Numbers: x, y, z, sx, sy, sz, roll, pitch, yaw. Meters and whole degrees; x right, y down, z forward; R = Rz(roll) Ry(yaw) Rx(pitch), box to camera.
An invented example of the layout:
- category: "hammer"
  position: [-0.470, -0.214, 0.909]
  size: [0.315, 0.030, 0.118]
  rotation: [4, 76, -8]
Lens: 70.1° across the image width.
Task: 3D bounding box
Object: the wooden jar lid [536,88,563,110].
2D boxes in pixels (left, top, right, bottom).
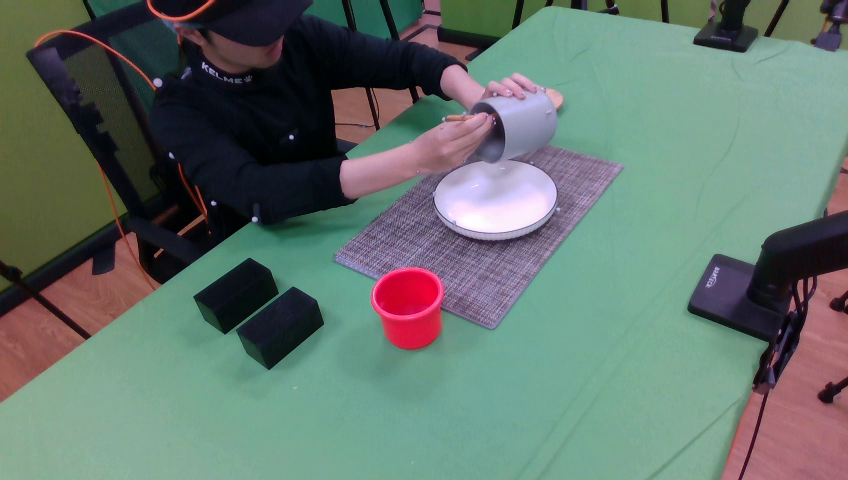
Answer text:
- category: "wooden jar lid"
  position: [0.237, -0.286, 1.271]
  size: [0.108, 0.021, 0.108]
  rotation: [-5, 42, 5]

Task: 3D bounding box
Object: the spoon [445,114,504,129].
- category: "spoon"
  position: [0.112, -0.185, 0.961]
  size: [0.195, 0.021, 0.041]
  rotation: [-4, -2, -36]

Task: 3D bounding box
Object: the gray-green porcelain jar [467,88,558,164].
- category: "gray-green porcelain jar"
  position: [0.152, -0.195, 1.016]
  size: [0.127, 0.106, 0.105]
  rotation: [-22, 42, -29]

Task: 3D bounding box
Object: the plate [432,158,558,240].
- category: "plate"
  position: [0.118, -0.066, 1.013]
  size: [0.207, 0.039, 0.206]
  rotation: [-4, 41, 4]
